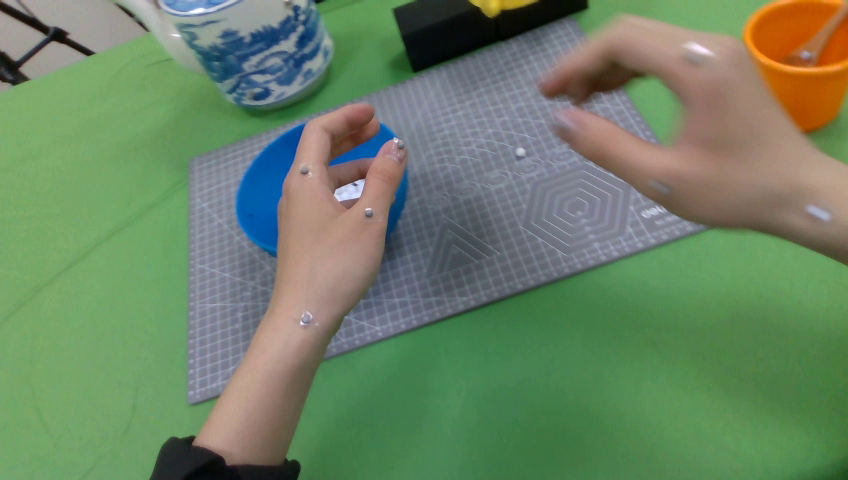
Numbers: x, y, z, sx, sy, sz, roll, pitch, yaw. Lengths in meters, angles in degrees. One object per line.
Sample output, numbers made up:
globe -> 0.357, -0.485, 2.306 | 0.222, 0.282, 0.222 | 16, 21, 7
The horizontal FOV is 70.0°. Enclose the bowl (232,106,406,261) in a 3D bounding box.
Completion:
bowl -> -0.080, -0.036, 0.530 | 0.151, 0.077, 0.150 | -8, 54, 12

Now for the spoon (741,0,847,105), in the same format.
spoon -> 0.327, -0.181, 0.465 | 0.022, 0.194, 0.041 | 9, 45, -31

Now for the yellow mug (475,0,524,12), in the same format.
yellow mug -> 0.076, -0.282, 0.600 | 0.099, 0.064, 0.130 | 11, 62, 23

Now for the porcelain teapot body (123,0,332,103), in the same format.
porcelain teapot body -> -0.227, -0.257, 0.639 | 0.205, 0.228, 0.143 | -15, 54, 8
